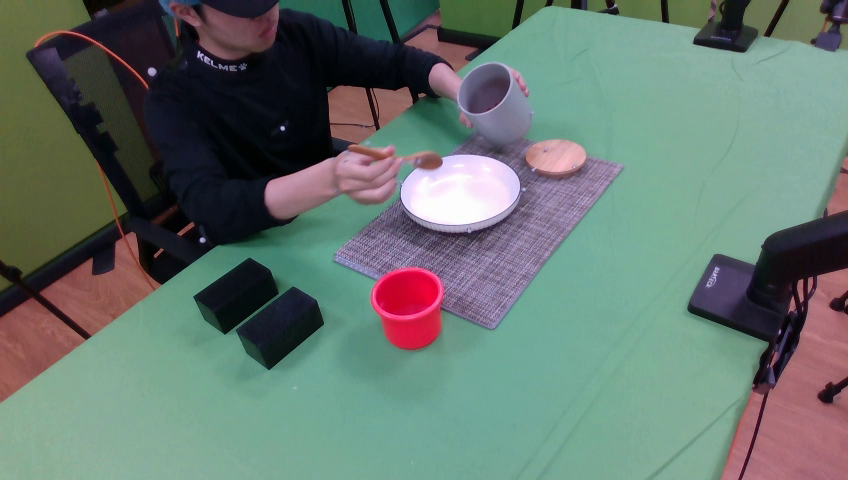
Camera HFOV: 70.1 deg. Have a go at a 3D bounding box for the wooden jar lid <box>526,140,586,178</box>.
[{"bbox_3d":[0.240,-0.147,1.103,0.108,0.021,0.108,-4,42,4],"label":"wooden jar lid"}]

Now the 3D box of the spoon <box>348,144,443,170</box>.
[{"bbox_3d":[-0.036,-0.119,0.858,0.195,0.041,0.021,-4,67,-55],"label":"spoon"}]

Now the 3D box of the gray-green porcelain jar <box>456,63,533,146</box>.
[{"bbox_3d":[0.131,-0.237,1.084,0.105,0.127,0.105,-11,65,26],"label":"gray-green porcelain jar"}]

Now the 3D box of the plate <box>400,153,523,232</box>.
[{"bbox_3d":[0.065,-0.078,1.034,0.207,0.039,0.206,-4,41,4],"label":"plate"}]
